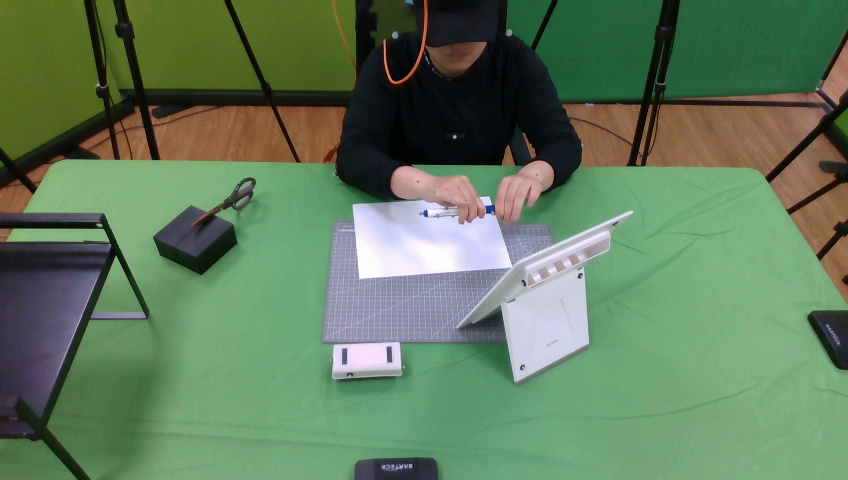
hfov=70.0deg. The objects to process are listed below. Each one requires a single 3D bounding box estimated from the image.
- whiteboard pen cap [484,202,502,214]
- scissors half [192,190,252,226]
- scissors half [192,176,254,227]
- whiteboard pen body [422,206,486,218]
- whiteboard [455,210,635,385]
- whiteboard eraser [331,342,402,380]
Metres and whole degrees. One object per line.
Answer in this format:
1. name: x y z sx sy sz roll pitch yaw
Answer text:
1. whiteboard pen cap: 0.125 -0.058 1.108 0.033 0.018 0.018 -14 47 1
2. scissors half: -0.393 -0.060 1.187 0.013 0.040 0.175 25 29 11
3. scissors half: -0.388 -0.075 1.174 0.013 0.040 0.174 29 48 8
4. whiteboard pen body: 0.067 -0.052 1.100 0.141 0.017 0.017 -4 47 -10
5. whiteboard: 0.211 0.111 0.955 0.217 0.306 0.143 -21 72 -23
6. whiteboard eraser: -0.094 0.198 0.986 0.113 0.042 0.055 -2 44 -6
